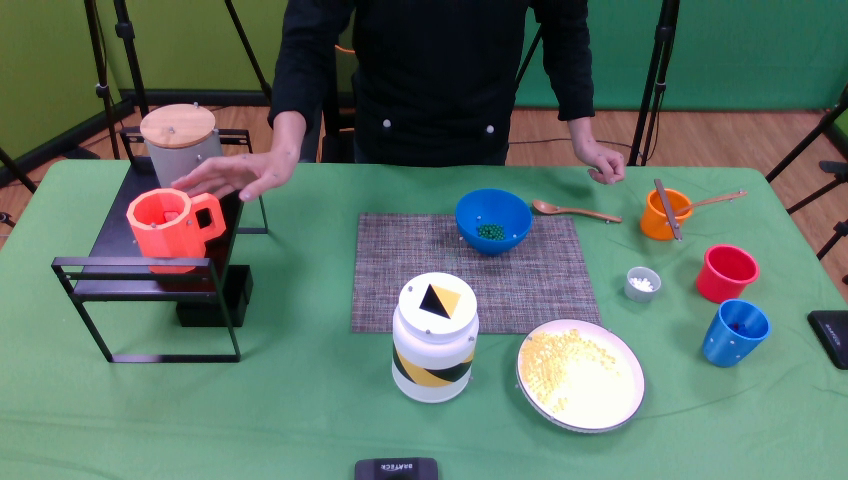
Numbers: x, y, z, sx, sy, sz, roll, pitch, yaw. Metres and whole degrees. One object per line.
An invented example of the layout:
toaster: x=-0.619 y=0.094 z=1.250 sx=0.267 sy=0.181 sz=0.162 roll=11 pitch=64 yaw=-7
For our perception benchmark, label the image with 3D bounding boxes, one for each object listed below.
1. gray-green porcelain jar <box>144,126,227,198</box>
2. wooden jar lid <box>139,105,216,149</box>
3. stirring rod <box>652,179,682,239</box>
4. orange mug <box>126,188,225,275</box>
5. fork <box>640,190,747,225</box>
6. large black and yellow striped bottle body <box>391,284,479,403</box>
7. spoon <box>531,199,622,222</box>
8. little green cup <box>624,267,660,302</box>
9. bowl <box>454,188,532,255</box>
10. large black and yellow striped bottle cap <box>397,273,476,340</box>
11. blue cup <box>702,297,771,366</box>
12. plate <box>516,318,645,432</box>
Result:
gray-green porcelain jar: x=-0.375 y=-0.125 z=0.967 sx=0.106 sy=0.127 sz=0.105 roll=2 pitch=46 yaw=-2
wooden jar lid: x=-0.372 y=-0.169 z=0.920 sx=0.108 sy=0.021 sz=0.107 roll=4 pitch=44 yaw=-4
stirring rod: x=0.481 y=-0.065 z=1.204 sx=0.014 sy=0.006 sz=0.175 roll=1 pitch=46 yaw=0
orange mug: x=-0.357 y=-0.020 z=0.885 sx=0.126 sy=0.101 sz=0.083 roll=-29 pitch=54 yaw=-23
fork: x=0.533 y=-0.064 z=1.211 sx=0.207 sy=0.019 sz=0.028 roll=-22 pitch=28 yaw=39
large black and yellow striped bottle body: x=0.015 y=0.153 z=0.938 sx=0.131 sy=0.185 sz=0.130 roll=2 pitch=46 yaw=-2
spoon: x=0.321 y=-0.060 z=1.279 sx=0.194 sy=0.022 sz=0.041 roll=8 pitch=32 yaw=4
little green cup: x=0.406 y=0.084 z=1.135 sx=0.061 sy=0.039 sz=0.061 roll=3 pitch=45 yaw=-3
bowl: x=0.131 y=-0.025 z=1.187 sx=0.151 sy=0.077 sz=0.150 roll=2 pitch=46 yaw=-2
large black and yellow striped bottle cap: x=0.018 y=0.094 z=0.878 sx=0.115 sy=0.019 sz=0.114 roll=3 pitch=46 yaw=-3
blue cup: x=0.519 y=0.162 z=1.025 sx=0.093 sy=0.101 sz=0.092 roll=3 pitch=45 yaw=-3
plate: x=0.253 y=0.221 z=0.992 sx=0.209 sy=0.038 sz=0.208 roll=2 pitch=46 yaw=-2
